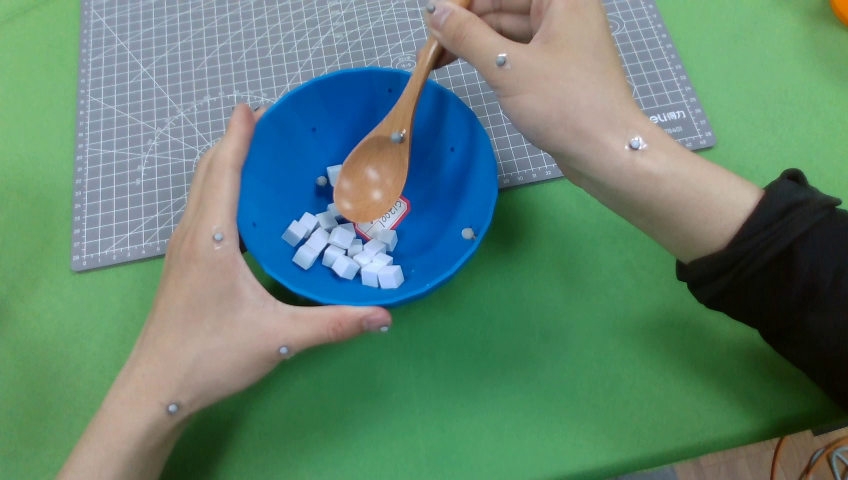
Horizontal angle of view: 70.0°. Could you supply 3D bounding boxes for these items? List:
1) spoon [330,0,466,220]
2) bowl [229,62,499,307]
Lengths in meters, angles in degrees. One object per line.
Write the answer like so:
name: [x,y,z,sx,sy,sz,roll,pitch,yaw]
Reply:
spoon: [0.001,-0.096,0.328,0.041,0.022,0.194,35,111,14]
bowl: [-0.032,-0.023,0.373,0.151,0.077,0.150,0,70,1]
